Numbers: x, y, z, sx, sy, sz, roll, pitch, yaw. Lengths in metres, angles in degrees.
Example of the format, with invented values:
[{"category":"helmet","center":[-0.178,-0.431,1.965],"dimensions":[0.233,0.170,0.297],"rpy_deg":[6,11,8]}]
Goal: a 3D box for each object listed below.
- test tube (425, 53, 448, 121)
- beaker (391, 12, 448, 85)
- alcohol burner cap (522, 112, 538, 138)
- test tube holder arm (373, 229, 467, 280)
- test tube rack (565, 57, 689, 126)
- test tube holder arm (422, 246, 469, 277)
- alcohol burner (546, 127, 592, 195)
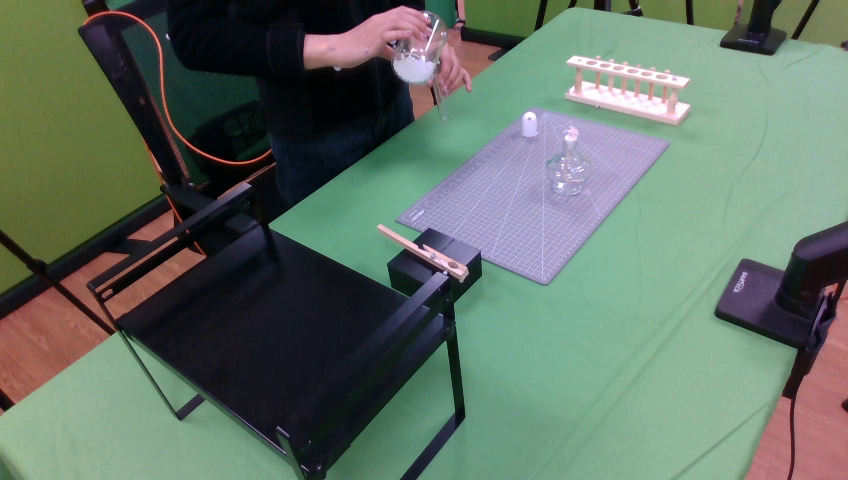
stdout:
[{"category":"test tube","center":[0.023,-0.273,1.094],"dimensions":[0.017,0.151,0.017],"rpy_deg":[-7,52,10]},{"category":"beaker","center":[-0.008,-0.305,0.979],"dimensions":[0.074,0.084,0.100],"rpy_deg":[8,54,14]},{"category":"alcohol burner cap","center":[0.210,-0.230,1.195],"dimensions":[0.034,0.048,0.033],"rpy_deg":[-5,40,5]},{"category":"test tube holder arm","center":[-0.010,0.019,0.885],"dimensions":[0.177,0.015,0.013],"rpy_deg":[23,47,33]},{"category":"test tube rack","center":[0.412,-0.311,1.230],"dimensions":[0.240,0.085,0.067],"rpy_deg":[23,49,32]},{"category":"test tube holder arm","center":[0.028,0.031,0.864],"dimensions":[0.087,0.015,0.010],"rpy_deg":[25,48,34]},{"category":"alcohol burner","center":[0.246,-0.137,1.023],"dimensions":[0.078,0.119,0.077],"rpy_deg":[-4,38,4]}]
